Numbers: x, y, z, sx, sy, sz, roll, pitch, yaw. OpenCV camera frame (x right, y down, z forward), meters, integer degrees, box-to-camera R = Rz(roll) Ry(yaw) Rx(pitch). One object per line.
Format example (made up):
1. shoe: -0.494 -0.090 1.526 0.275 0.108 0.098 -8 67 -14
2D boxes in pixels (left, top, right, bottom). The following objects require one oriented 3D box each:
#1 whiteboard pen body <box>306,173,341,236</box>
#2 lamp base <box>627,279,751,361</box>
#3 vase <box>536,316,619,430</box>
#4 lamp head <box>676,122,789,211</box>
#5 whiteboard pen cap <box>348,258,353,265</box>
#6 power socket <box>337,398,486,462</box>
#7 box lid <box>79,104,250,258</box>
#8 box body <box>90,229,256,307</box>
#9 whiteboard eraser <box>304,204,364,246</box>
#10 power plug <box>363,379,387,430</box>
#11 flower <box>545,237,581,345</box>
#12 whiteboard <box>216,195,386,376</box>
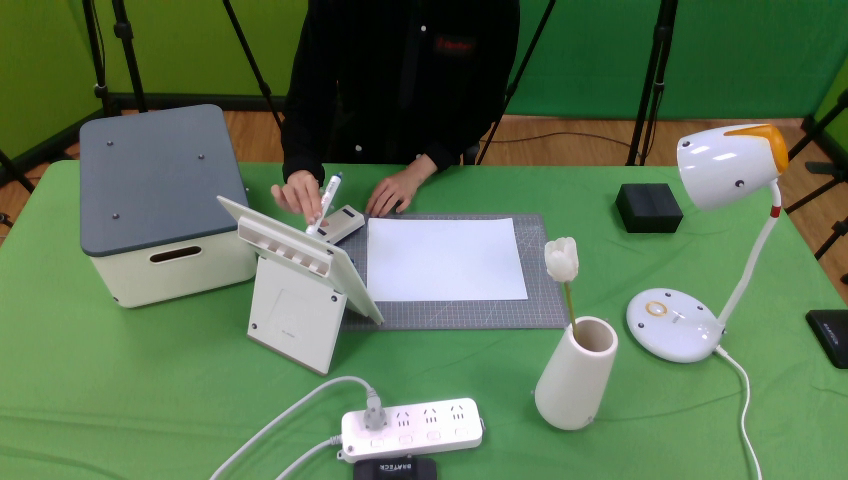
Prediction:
1. whiteboard pen body: -0.162 -0.047 0.953 0.017 0.017 0.140 15 62 10
2. lamp base: 0.460 0.100 1.027 0.178 0.181 0.160 27 51 17
3. vase: 0.229 0.200 0.901 0.098 0.201 0.097 3 46 -3
4. lamp head: 0.423 -0.104 0.819 0.122 0.113 0.112 -13 33 40
5. whiteboard pen cap: -0.152 0.041 1.146 0.033 0.018 0.018 12 47 11
6. power socket: -0.018 0.285 0.914 0.227 0.033 0.071 -4 46 -8
7. box lid: -0.467 -0.121 1.075 0.264 0.015 0.369 -13 49 -17
8. box body: -0.471 -0.070 1.131 0.254 0.161 0.361 -14 49 -17
9. whiteboard eraser: -0.175 -0.022 1.188 0.055 0.042 0.112 36 53 26
10. power plug: -0.071 0.252 0.911 0.035 0.053 0.072 3 40 0
11. flower: 0.213 0.137 0.846 0.038 0.364 0.044 22 55 40
12. whiteboard: -0.212 0.093 0.939 0.216 0.307 0.143 24 70 17
